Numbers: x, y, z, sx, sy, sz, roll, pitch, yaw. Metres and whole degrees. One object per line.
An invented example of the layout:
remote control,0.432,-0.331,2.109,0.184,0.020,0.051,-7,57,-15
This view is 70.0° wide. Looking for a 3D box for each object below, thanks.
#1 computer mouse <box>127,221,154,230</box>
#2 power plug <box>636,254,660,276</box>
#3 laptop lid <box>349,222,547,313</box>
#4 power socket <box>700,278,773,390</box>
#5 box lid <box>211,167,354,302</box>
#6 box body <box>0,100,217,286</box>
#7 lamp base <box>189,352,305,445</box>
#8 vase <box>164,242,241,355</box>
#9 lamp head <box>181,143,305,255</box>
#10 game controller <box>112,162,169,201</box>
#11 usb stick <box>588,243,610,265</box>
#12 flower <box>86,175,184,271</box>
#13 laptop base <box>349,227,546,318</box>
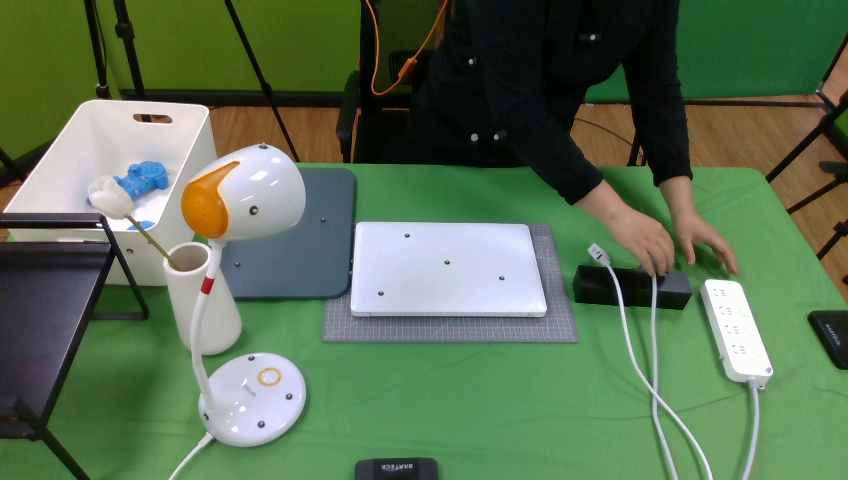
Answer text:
computer mouse,-0.537,0.009,1.127,0.062,0.041,0.117,31,55,21
power plug,0.414,0.050,1.139,0.035,0.053,0.072,46,46,10
laptop lid,0.041,0.046,1.143,0.357,0.013,0.240,2,44,-3
power socket,0.552,0.157,1.080,0.072,0.033,0.225,5,47,1
box lid,-0.277,-0.024,1.205,0.263,0.015,0.369,0,46,-4
box body,-0.560,-0.092,1.145,0.254,0.161,0.361,3,46,-2
lamp base,-0.268,0.196,0.876,0.160,0.181,0.179,26,52,20
vase,-0.350,0.096,0.954,0.098,0.201,0.097,3,47,-3
lamp head,-0.216,-0.044,0.697,0.112,0.113,0.123,23,31,17
game controller,-0.598,-0.113,1.234,0.097,0.052,0.155,29,51,20
usb stick,0.336,0.025,1.173,0.027,0.021,0.059,34,16,-13
flower,-0.365,0.038,0.894,0.038,0.364,0.044,-4,53,15
laptop base,0.040,0.056,1.149,0.355,0.023,0.234,1,42,-4
